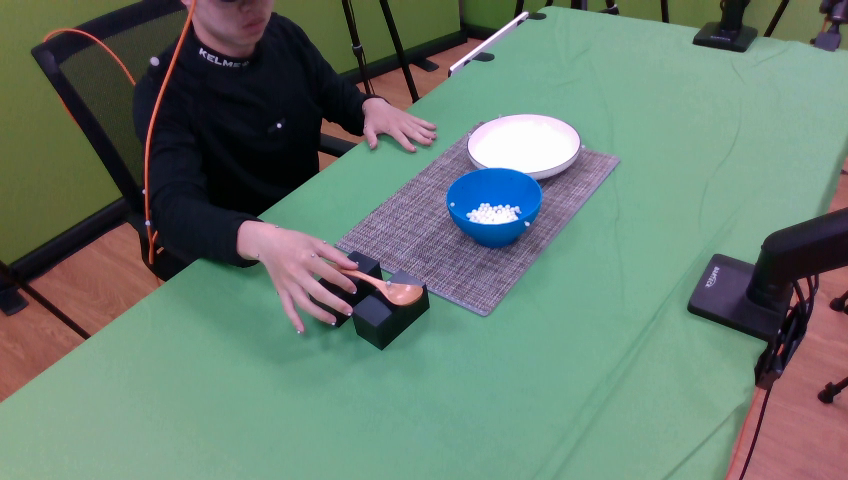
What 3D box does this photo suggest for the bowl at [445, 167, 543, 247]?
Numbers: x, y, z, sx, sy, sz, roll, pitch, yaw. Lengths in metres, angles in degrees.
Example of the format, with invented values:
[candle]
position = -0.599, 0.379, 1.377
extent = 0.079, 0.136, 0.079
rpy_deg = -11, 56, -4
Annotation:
[bowl]
position = 0.111, -0.042, 0.952
extent = 0.151, 0.077, 0.150
rpy_deg = -4, 41, 4

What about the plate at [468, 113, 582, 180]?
[plate]
position = 0.186, -0.169, 1.122
extent = 0.207, 0.039, 0.206
rpy_deg = -4, 40, 4

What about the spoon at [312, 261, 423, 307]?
[spoon]
position = -0.084, 0.055, 0.842
extent = 0.192, 0.022, 0.042
rpy_deg = 19, 47, 29
